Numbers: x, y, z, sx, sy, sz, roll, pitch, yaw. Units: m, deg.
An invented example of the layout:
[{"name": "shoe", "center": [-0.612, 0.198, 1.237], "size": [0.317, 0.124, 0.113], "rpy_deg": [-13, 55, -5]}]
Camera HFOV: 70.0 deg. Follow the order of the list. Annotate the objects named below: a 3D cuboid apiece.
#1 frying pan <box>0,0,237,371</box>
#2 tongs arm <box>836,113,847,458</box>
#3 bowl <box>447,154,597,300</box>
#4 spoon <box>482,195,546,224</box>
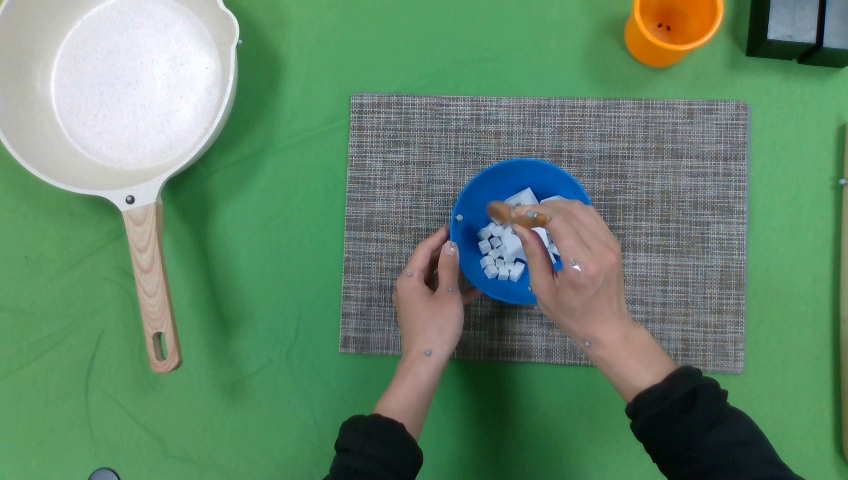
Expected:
[{"name": "frying pan", "center": [-0.325, -0.095, 0.673], "size": [0.307, 0.103, 0.485], "rpy_deg": [-14, 78, 4]}, {"name": "tongs arm", "center": [0.465, 0.053, 0.653], "size": [0.028, 0.028, 0.387], "rpy_deg": [1, 88, 3]}, {"name": "bowl", "center": [0.102, -0.011, 0.650], "size": [0.151, 0.077, 0.151], "rpy_deg": [0, 88, 4]}, {"name": "spoon", "center": [0.081, -0.024, 0.536], "size": [0.042, 0.193, 0.021], "rpy_deg": [29, 96, -5]}]
